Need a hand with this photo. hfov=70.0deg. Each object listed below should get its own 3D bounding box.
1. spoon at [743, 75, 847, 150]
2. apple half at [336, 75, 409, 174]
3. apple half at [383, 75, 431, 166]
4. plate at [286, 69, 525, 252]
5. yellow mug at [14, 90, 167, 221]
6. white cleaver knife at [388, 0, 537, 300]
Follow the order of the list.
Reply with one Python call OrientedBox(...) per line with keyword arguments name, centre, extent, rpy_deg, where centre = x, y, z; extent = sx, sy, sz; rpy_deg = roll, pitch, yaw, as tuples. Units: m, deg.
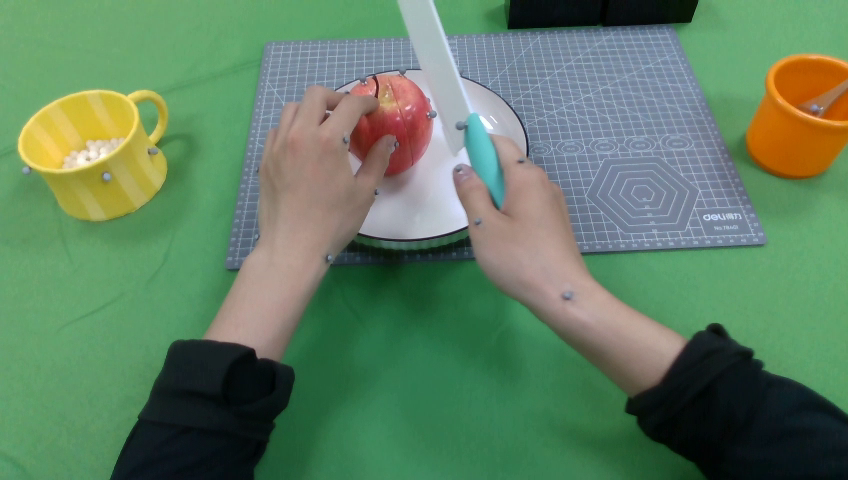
OrientedBox(name="spoon", centre=(0.367, -0.137, 0.512), extent=(0.022, 0.194, 0.041), rpy_deg=(26, 42, -35))
OrientedBox(name="apple half", centre=(-0.048, -0.095, 0.525), extent=(0.053, 0.075, 0.080), rpy_deg=(-17, 60, -4))
OrientedBox(name="apple half", centre=(-0.010, -0.106, 0.530), extent=(0.033, 0.082, 0.080), rpy_deg=(-18, 56, -3))
OrientedBox(name="plate", centre=(-0.016, -0.072, 0.540), extent=(0.209, 0.038, 0.207), rpy_deg=(0, 55, 1))
OrientedBox(name="yellow mug", centre=(-0.283, -0.086, 0.542), extent=(0.099, 0.064, 0.130), rpy_deg=(27, 59, 19))
OrientedBox(name="white cleaver knife", centre=(0.020, -0.092, 0.438), extent=(0.021, 0.066, 0.286), rpy_deg=(-19, 87, -14))
